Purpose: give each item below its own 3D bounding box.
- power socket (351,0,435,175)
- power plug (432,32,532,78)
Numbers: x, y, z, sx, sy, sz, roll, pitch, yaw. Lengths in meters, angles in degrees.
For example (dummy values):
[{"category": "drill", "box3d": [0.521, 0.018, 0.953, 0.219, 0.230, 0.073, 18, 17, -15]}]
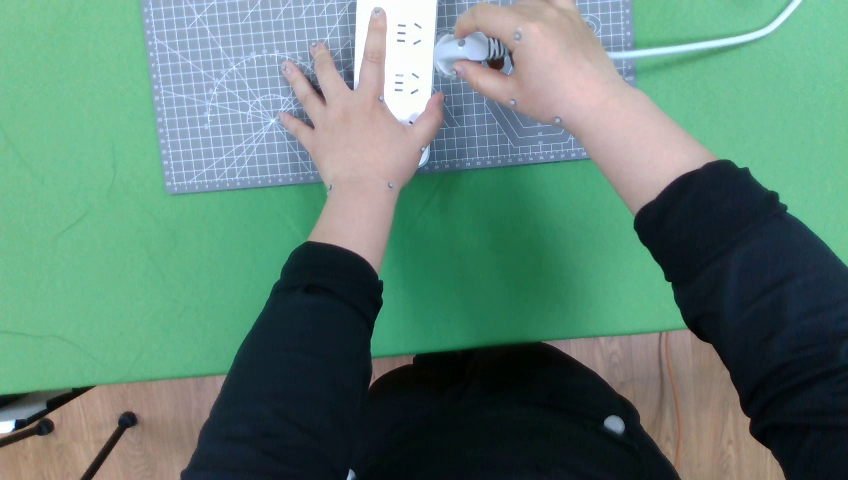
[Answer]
[{"category": "power socket", "box3d": [-0.027, -0.172, 0.547, 0.072, 0.032, 0.227, 3, 97, -1]}, {"category": "power plug", "box3d": [0.042, -0.143, 0.484, 0.073, 0.052, 0.035, 13, 87, -9]}]
